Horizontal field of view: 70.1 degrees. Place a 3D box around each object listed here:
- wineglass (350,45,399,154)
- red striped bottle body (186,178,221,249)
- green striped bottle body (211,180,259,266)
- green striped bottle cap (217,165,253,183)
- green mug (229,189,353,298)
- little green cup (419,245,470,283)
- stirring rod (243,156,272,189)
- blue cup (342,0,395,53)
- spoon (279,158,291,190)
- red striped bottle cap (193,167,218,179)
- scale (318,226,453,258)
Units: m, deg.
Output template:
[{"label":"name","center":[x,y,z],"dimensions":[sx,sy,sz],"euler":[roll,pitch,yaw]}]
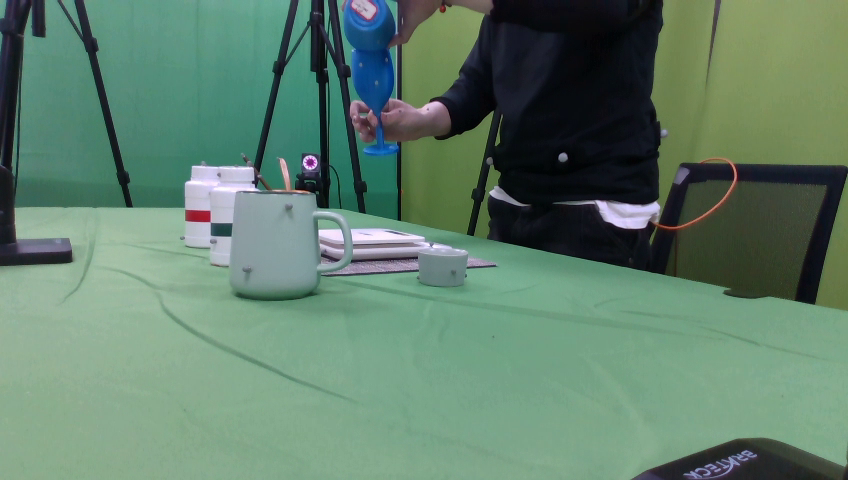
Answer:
[{"label":"wineglass","center":[-0.083,-0.240,1.031],"dimensions":[0.074,0.172,0.073],"euler":[-4,23,2]},{"label":"red striped bottle body","center":[-0.331,-0.049,0.928],"dimensions":[0.063,0.119,0.063],"euler":[2,7,0]},{"label":"green striped bottle body","center":[-0.243,-0.029,0.784],"dimensions":[0.063,0.119,0.063],"euler":[2,7,0]},{"label":"green striped bottle cap","center":[-0.242,-0.085,0.777],"dimensions":[0.044,0.020,0.044],"euler":[2,9,0]},{"label":"green mug","center":[-0.135,0.002,0.618],"dimensions":[0.125,0.105,0.092],"euler":[2,7,4]},{"label":"little green cup","center":[0.023,0.028,0.712],"dimensions":[0.061,0.038,0.061],"euler":[1,6,0]},{"label":"stirring rod","center":[-0.304,-0.099,1.201],"dimensions":[0.006,0.177,0.014],"euler":[-27,37,7]},{"label":"blue cup","center":[-0.089,-0.343,0.936],"dimensions":[0.093,0.092,0.100],"euler":[2,6,-1]},{"label":"spoon","center":[-0.280,-0.103,1.251],"dimensions":[0.042,0.193,0.021],"euler":[7,-40,-30]},{"label":"red striped bottle cap","center":[-0.329,-0.103,0.921],"dimensions":[0.044,0.017,0.044],"euler":[-1,9,0]},{"label":"scale","center":[-0.066,0.001,0.906],"dimensions":[0.202,0.031,0.148],"euler":[-2,8,-31]}]
